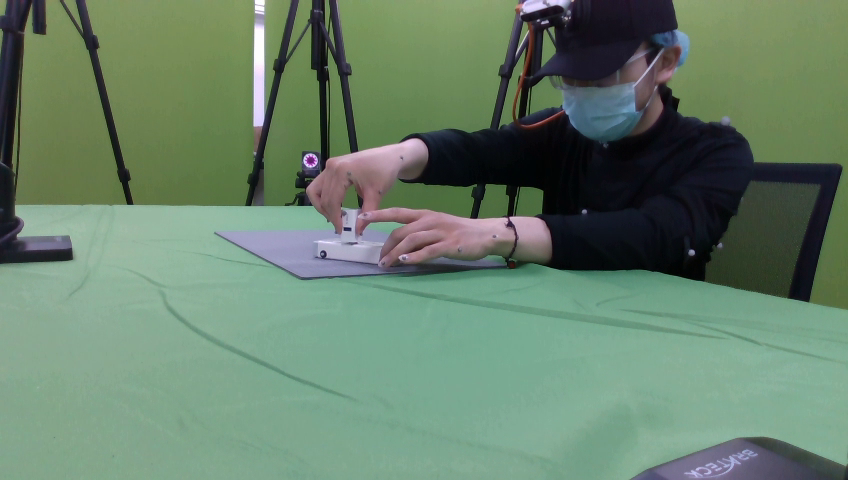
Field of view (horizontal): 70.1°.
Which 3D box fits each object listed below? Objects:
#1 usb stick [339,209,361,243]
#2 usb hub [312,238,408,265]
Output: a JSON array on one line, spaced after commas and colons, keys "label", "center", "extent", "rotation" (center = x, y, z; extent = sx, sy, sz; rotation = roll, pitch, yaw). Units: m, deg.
[{"label": "usb stick", "center": [-0.100, -0.013, 0.814], "extent": [0.021, 0.059, 0.027], "rotation": [6, 8, 20]}, {"label": "usb hub", "center": [-0.088, 0.015, 0.828], "extent": [0.125, 0.025, 0.050], "rotation": [4, 7, 23]}]
